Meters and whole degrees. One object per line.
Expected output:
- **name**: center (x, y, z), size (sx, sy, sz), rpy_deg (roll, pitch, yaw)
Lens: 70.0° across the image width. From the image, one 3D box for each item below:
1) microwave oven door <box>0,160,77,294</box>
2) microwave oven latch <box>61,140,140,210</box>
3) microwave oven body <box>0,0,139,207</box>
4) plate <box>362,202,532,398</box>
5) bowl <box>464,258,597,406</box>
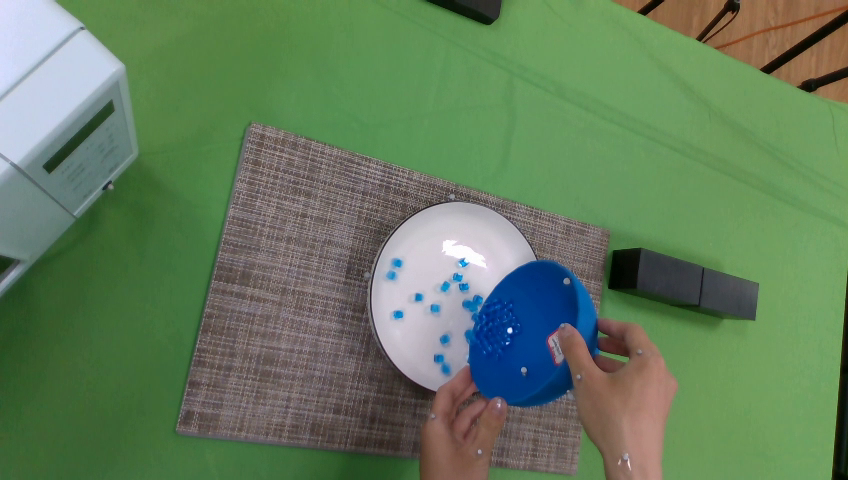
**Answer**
- **microwave oven door**: center (-0.366, 0.094, 0.355), size (0.039, 0.243, 0.355), rpy_deg (42, 72, -14)
- **microwave oven latch**: center (-0.278, -0.063, 0.515), size (0.030, 0.029, 0.079), rpy_deg (44, 72, -15)
- **microwave oven body**: center (-0.449, -0.032, 0.333), size (0.328, 0.259, 0.440), rpy_deg (42, 72, -16)
- **plate**: center (0.029, 0.064, 0.655), size (0.209, 0.039, 0.207), rpy_deg (2, 85, -24)
- **bowl**: center (0.119, 0.102, 0.610), size (0.077, 0.150, 0.151), rpy_deg (29, 75, -27)
